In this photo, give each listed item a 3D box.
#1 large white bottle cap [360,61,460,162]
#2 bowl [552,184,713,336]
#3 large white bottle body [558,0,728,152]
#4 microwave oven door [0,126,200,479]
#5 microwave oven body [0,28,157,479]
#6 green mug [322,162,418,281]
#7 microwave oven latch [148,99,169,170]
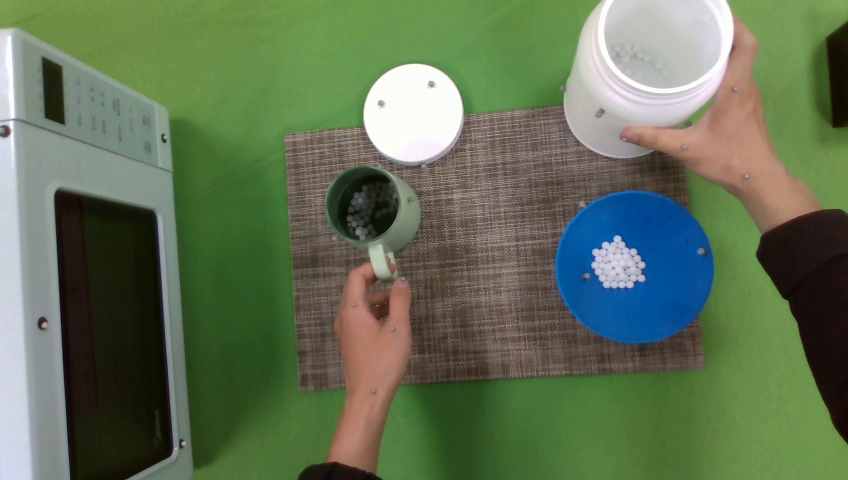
[{"bbox_3d":[-0.016,-0.147,0.690,0.114,0.018,0.114,-1,83,7],"label":"large white bottle cap"},{"bbox_3d":[0.207,0.022,0.627,0.151,0.077,0.151,0,87,8],"label":"bowl"},{"bbox_3d":[0.203,-0.168,0.583,0.130,0.185,0.130,-1,85,6],"label":"large white bottle body"},{"bbox_3d":[-0.307,0.091,0.588,0.039,0.244,0.355,-7,86,7],"label":"microwave oven door"},{"bbox_3d":[-0.456,0.066,0.611,0.326,0.260,0.441,-7,87,6],"label":"microwave oven body"},{"bbox_3d":[-0.053,-0.018,0.646,0.092,0.105,0.125,-14,86,5],"label":"green mug"},{"bbox_3d":[-0.316,-0.120,0.701,0.030,0.029,0.079,-6,87,6],"label":"microwave oven latch"}]
